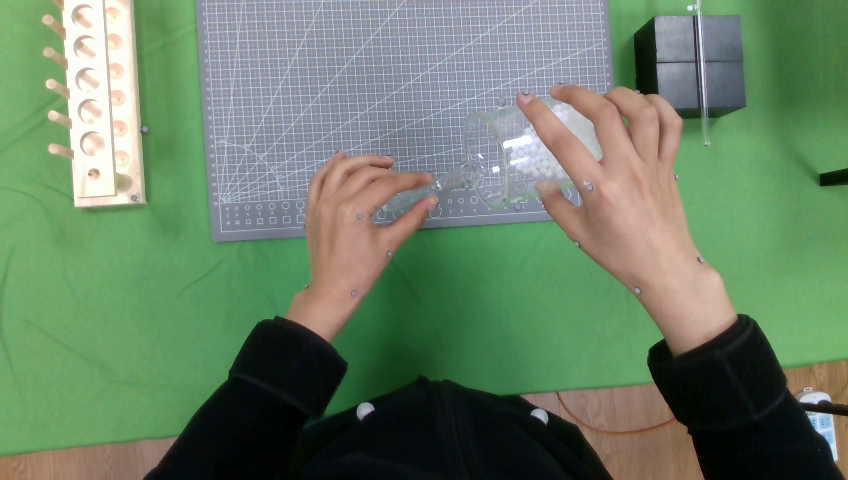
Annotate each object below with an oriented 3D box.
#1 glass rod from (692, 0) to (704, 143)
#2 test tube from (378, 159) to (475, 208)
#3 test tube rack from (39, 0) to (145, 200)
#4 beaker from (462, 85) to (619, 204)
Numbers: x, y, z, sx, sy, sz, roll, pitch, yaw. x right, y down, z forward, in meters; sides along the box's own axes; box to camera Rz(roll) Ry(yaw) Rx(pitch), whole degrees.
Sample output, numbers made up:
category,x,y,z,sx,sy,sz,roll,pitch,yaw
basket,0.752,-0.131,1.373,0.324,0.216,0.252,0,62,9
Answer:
category,x,y,z,sx,sy,sz,roll,pitch,yaw
glass rod,0.293,-0.204,0.648,0.008,0.008,0.199,-2,90,-6
test tube,-0.003,-0.048,0.549,0.017,0.149,0.017,5,79,-31
test tube rack,-0.325,-0.164,0.584,0.067,0.085,0.242,-4,90,-6
beaker,0.087,-0.074,0.462,0.100,0.084,0.074,-15,87,-15
